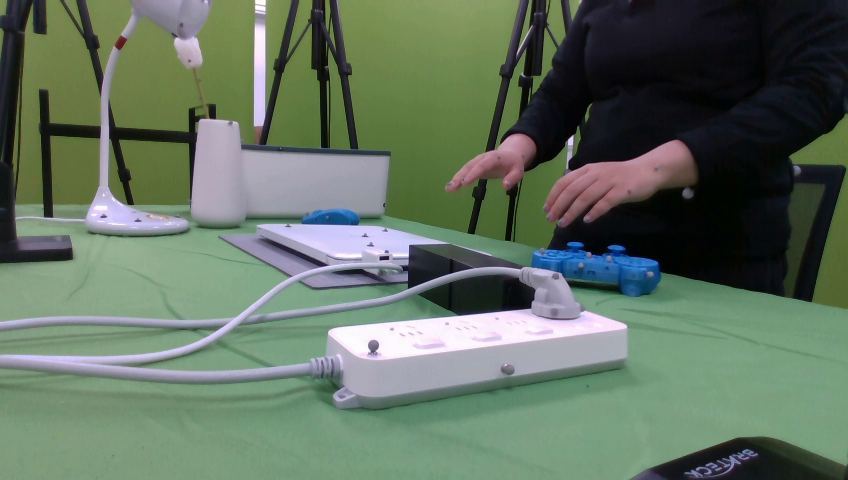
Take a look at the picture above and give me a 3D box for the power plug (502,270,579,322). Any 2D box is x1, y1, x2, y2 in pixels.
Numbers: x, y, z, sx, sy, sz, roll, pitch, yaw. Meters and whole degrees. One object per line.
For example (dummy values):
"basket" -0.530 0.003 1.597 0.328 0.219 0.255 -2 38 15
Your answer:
"power plug" 0.091 0.051 0.469 0.035 0.052 0.072 0 5 -18

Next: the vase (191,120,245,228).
"vase" -0.389 -0.124 1.143 0.098 0.200 0.098 3 9 0

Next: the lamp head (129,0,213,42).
"lamp head" -0.423 -0.394 0.980 0.123 0.112 0.112 20 7 -3

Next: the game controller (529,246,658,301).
"game controller" 0.202 0.036 0.733 0.155 0.051 0.097 5 10 19

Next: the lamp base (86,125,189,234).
"lamp base" -0.497 -0.105 1.027 0.179 0.180 0.160 1 7 3

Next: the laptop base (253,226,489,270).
"laptop base" -0.095 0.011 0.912 0.237 0.023 0.352 2 6 -32

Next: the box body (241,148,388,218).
"box body" -0.297 -0.143 1.475 0.366 0.160 0.253 -1 9 -30

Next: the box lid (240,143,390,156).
"box lid" -0.295 -0.217 1.464 0.373 0.015 0.262 -1 8 -30

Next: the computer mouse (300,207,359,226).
"computer mouse" -0.194 -0.046 1.241 0.117 0.041 0.063 0 10 11

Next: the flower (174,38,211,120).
"flower" -0.401 -0.207 1.141 0.038 0.361 0.044 -14 3 44

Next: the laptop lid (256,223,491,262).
"laptop lid" -0.092 0.000 0.911 0.243 0.013 0.355 1 7 -30

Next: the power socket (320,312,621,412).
"power socket" 0.038 0.075 0.409 0.228 0.032 0.072 -2 8 -29

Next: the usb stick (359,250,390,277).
"usb stick" -0.061 0.026 0.708 0.021 0.027 0.059 -5 6 -28
